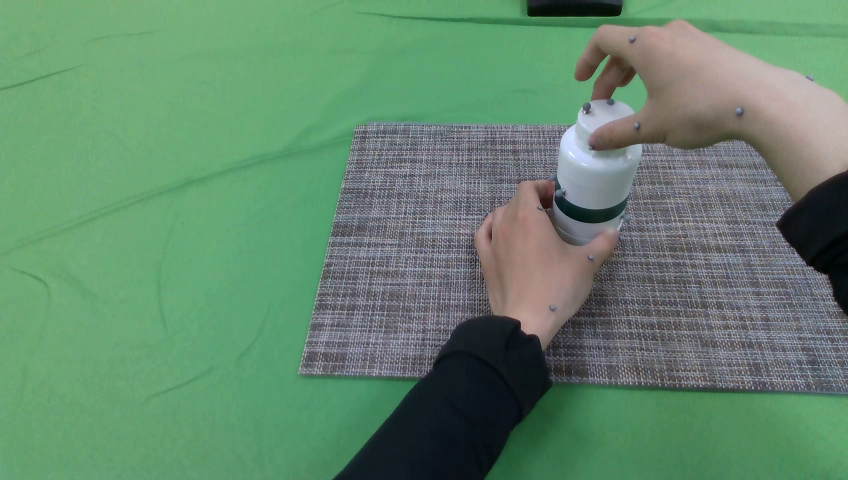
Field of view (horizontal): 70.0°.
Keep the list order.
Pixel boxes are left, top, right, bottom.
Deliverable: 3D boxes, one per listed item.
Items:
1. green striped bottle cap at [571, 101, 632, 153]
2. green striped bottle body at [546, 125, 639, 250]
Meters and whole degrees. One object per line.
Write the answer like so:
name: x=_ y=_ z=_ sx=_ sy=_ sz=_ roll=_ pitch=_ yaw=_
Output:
green striped bottle cap: x=0.135 y=-0.086 z=0.462 sx=0.044 sy=0.020 sz=0.044 roll=-1 pitch=47 yaw=1
green striped bottle body: x=0.139 y=-0.052 z=0.503 sx=0.063 sy=0.120 sz=0.062 roll=-2 pitch=50 yaw=2
